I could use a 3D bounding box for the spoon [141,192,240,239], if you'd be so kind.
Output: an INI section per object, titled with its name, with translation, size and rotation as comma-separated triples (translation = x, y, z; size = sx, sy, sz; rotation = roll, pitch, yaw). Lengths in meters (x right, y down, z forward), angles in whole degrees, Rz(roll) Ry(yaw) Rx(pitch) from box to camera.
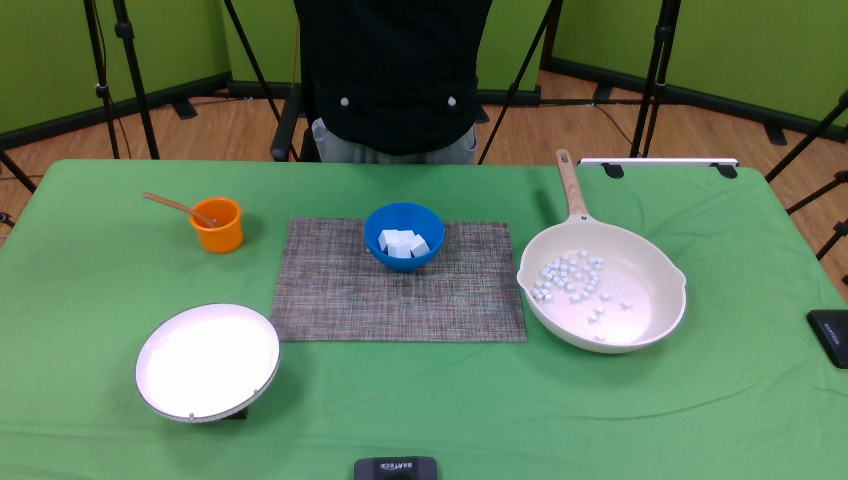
[spoon]
translation = -0.428, -0.048, 1.123
size = 0.021, 0.195, 0.041
rotation = -38, 44, 20

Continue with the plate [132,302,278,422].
[plate]
translation = -0.325, 0.186, 0.916
size = 0.208, 0.039, 0.206
rotation = 3, 44, -2

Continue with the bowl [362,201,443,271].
[bowl]
translation = -0.041, 0.006, 1.145
size = 0.151, 0.077, 0.150
rotation = 2, 46, -2

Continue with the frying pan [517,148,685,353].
[frying pan]
translation = 0.311, 0.002, 1.163
size = 0.307, 0.103, 0.484
rotation = 0, 55, -5
